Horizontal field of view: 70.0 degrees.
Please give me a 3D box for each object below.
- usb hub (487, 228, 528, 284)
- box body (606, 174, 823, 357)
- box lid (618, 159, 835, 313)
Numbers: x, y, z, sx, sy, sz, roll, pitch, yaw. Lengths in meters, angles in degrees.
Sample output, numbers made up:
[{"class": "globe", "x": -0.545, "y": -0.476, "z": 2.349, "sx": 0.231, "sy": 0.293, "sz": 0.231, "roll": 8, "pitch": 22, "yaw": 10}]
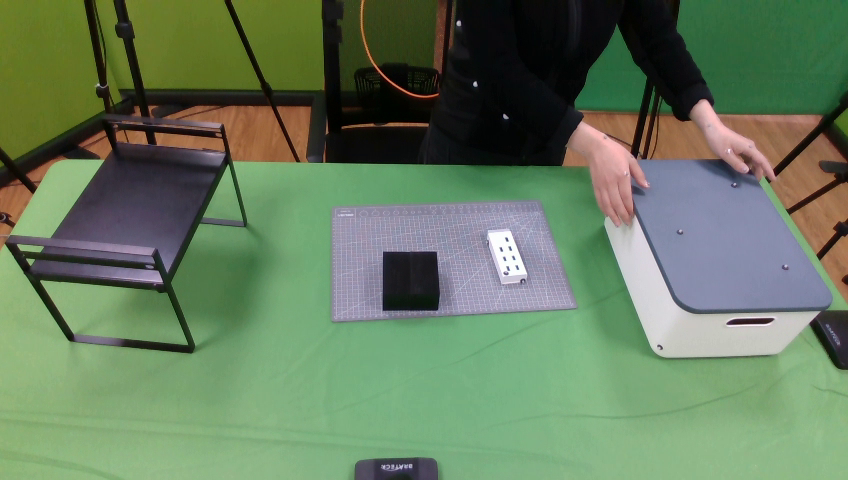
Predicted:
[{"class": "usb hub", "x": 0.159, "y": 0.030, "z": 1.173, "sx": 0.049, "sy": 0.025, "sz": 0.124, "roll": -5, "pitch": 46, "yaw": -9}, {"class": "box body", "x": 0.505, "y": 0.028, "z": 1.107, "sx": 0.254, "sy": 0.161, "sz": 0.361, "roll": -1, "pitch": 46, "yaw": -4}, {"class": "box lid", "x": 0.508, "y": -0.024, "z": 1.056, "sx": 0.263, "sy": 0.015, "sz": 0.369, "roll": 0, "pitch": 46, "yaw": -5}]
